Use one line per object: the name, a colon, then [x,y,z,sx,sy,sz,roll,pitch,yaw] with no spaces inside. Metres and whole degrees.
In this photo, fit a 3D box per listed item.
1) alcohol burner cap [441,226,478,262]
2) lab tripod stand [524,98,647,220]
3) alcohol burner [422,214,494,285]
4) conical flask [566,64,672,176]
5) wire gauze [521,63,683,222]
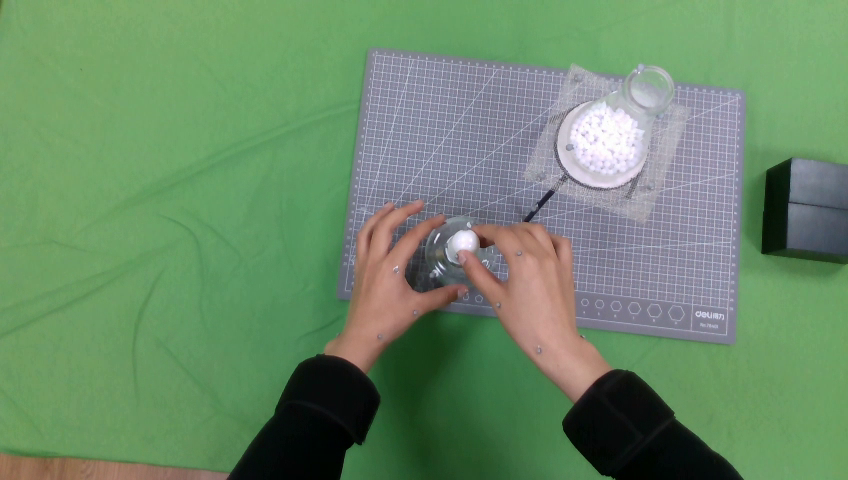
alcohol burner cap: [0.036,0.002,0.595,0.034,0.048,0.033,1,81,-7]
lab tripod stand: [0.164,-0.086,0.636,0.148,0.132,0.148,0,81,1]
alcohol burner: [0.036,0.008,0.631,0.078,0.119,0.077,0,84,0]
conical flask: [0.169,-0.105,0.513,0.075,0.122,0.075,0,81,0]
wire gauze: [0.170,-0.092,0.570,0.121,0.011,0.125,24,80,1]
